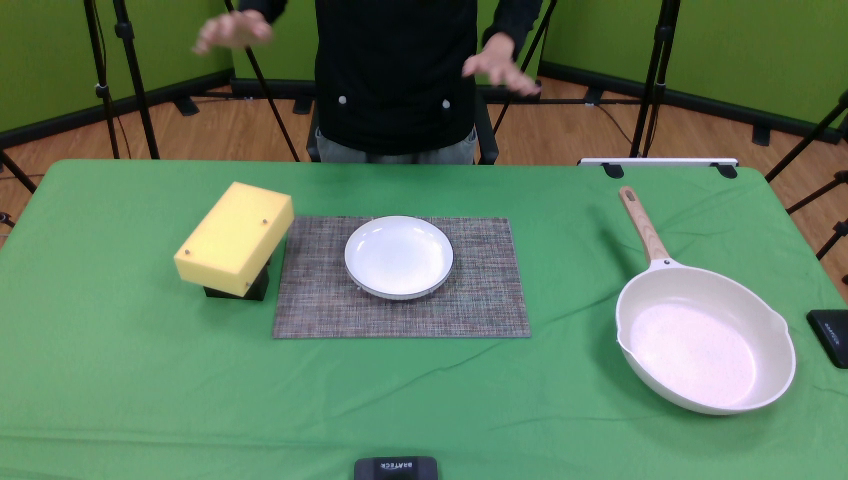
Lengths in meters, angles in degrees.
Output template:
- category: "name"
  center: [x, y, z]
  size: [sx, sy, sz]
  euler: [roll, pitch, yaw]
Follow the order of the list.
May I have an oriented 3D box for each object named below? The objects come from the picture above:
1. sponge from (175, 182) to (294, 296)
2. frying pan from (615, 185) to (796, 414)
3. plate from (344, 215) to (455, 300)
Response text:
- category: "sponge"
  center: [-0.333, -0.007, 1.086]
  size: [0.118, 0.061, 0.206]
  euler: [13, 47, 9]
- category: "frying pan"
  center: [0.450, 0.087, 1.092]
  size: [0.307, 0.103, 0.484]
  euler: [-4, 55, -10]
- category: "plate"
  center: [-0.045, 0.035, 1.146]
  size: [0.208, 0.039, 0.206]
  euler: [2, 46, -2]
